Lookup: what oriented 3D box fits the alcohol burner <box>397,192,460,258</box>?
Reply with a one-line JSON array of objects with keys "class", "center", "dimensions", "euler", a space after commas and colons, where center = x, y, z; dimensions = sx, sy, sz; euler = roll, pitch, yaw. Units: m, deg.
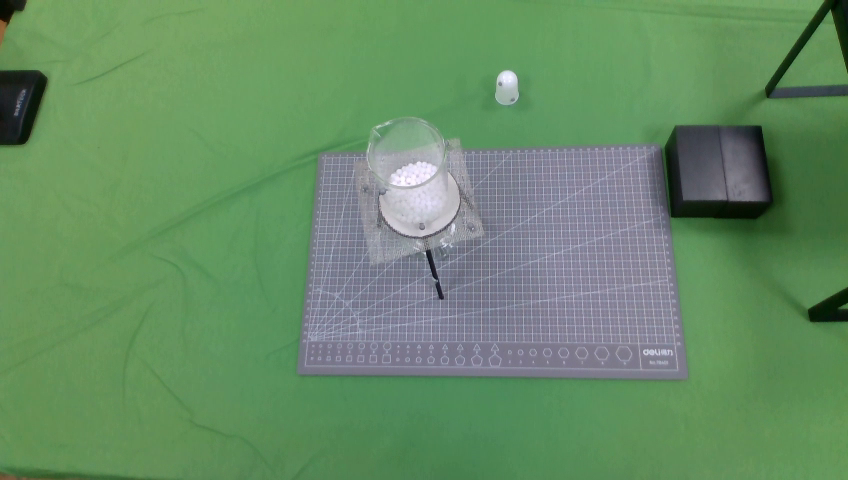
[{"class": "alcohol burner", "center": [0.003, -0.024, 0.711], "dimensions": [0.078, 0.120, 0.077], "euler": [-2, 68, 6]}]

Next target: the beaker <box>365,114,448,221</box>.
[{"class": "beaker", "center": [-0.015, -0.068, 0.596], "dimensions": [0.083, 0.101, 0.074], "euler": [40, 78, 17]}]

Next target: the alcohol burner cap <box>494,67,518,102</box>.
[{"class": "alcohol burner cap", "center": [0.110, -0.210, 0.811], "dimensions": [0.034, 0.048, 0.033], "euler": [-2, 70, 7]}]

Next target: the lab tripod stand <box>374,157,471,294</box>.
[{"class": "lab tripod stand", "center": [0.001, -0.023, 0.700], "dimensions": [0.148, 0.132, 0.147], "euler": [-1, 70, 4]}]

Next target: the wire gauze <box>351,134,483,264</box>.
[{"class": "wire gauze", "center": [-0.009, -0.047, 0.640], "dimensions": [0.121, 0.011, 0.124], "euler": [-14, 73, 2]}]
